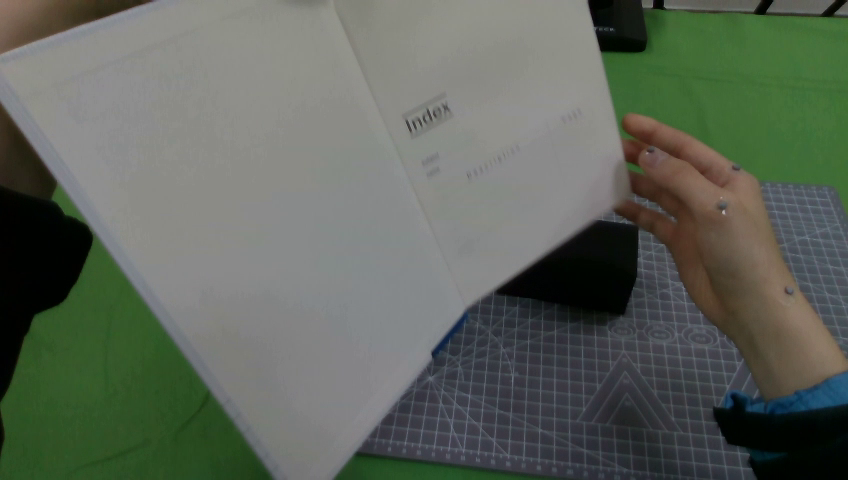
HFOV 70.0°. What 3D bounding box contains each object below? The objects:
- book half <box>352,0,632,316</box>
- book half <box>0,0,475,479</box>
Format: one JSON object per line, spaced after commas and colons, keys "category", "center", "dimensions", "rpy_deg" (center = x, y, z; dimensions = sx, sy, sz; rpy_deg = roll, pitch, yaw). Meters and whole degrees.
{"category": "book half", "center": [0.041, -0.080, 0.334], "dimensions": [0.148, 0.212, 0.016], "rpy_deg": [-32, 25, -19]}
{"category": "book half", "center": [-0.050, -0.001, 0.260], "dimensions": [0.007, 0.212, 0.143], "rpy_deg": [11, 43, 44]}
